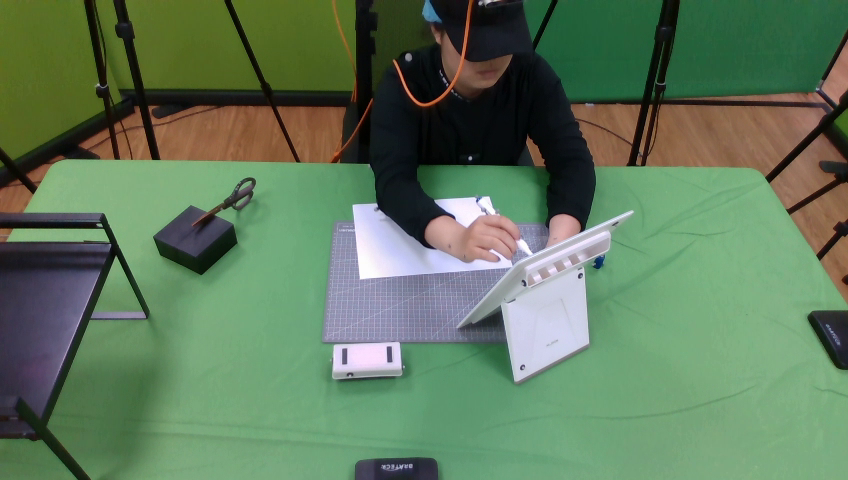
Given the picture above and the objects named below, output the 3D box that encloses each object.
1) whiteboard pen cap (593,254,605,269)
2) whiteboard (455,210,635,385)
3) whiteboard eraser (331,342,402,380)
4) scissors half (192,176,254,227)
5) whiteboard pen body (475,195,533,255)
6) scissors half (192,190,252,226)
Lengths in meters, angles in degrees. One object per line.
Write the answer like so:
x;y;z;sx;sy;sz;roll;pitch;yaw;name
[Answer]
0.341;0.041;1.179;0.018;0.033;0.018;1;46;-1;whiteboard pen cap
0.211;0.111;0.955;0.217;0.306;0.143;-20;72;-23;whiteboard
-0.094;0.198;0.986;0.113;0.042;0.055;-2;44;-6;whiteboard eraser
-0.388;-0.075;1.174;0.013;0.040;0.174;29;48;8;scissors half
0.133;-0.021;0.989;0.017;0.017;0.140;-32;72;-30;whiteboard pen body
-0.393;-0.060;1.187;0.013;0.040;0.175;25;29;11;scissors half
